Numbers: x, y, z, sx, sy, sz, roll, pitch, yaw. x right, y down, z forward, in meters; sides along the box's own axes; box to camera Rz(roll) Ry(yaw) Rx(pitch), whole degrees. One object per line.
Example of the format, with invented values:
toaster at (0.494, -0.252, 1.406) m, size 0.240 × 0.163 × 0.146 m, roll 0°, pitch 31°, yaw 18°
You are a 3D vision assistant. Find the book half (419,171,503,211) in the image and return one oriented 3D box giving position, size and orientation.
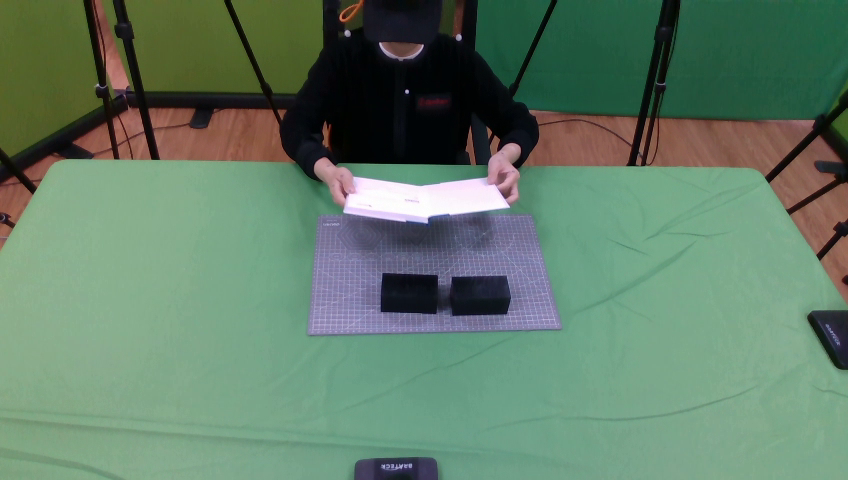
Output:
book half at (0.061, -0.095, 1.142) m, size 0.143 × 0.007 × 0.209 m, roll -7°, pitch 19°, yaw 0°
